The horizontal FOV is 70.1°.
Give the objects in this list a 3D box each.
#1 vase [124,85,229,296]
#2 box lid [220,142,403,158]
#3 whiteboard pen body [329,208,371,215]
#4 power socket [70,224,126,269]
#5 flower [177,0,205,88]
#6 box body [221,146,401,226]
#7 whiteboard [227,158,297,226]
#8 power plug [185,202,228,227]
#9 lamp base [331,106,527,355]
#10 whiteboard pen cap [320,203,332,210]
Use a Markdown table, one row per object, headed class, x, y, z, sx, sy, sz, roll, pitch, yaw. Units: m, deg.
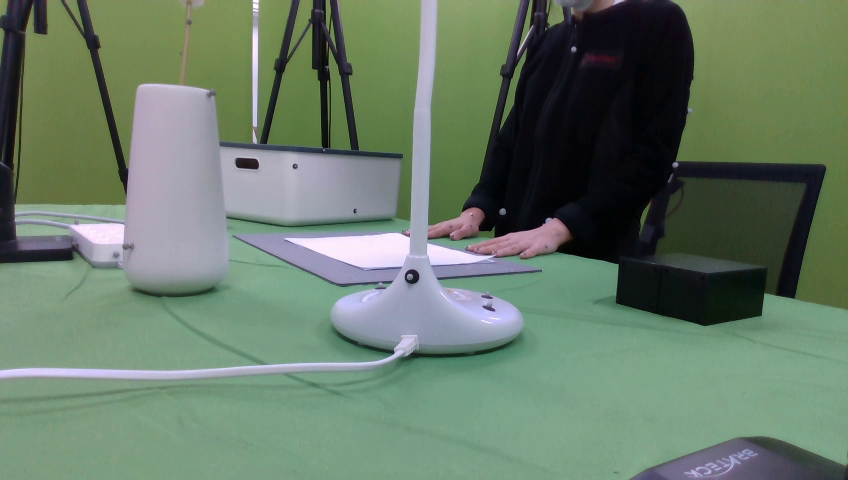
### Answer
| class | x | y | z | sx | sy | sz | roll | pitch | yaw |
| --- | --- | --- | --- | --- | --- | --- | --- | --- | --- |
| vase | -0.244 | -0.047 | 0.598 | 0.098 | 0.200 | 0.098 | 3 | 8 | 0 |
| box lid | -0.252 | -0.202 | 1.368 | 0.262 | 0.015 | 0.373 | 9 | 9 | 36 |
| whiteboard pen body | -0.189 | -0.073 | 1.521 | 0.140 | 0.017 | 0.017 | 3 | 6 | 37 |
| power socket | -0.409 | 0.004 | 0.792 | 0.072 | 0.032 | 0.225 | -2 | 8 | -37 |
| flower | -0.243 | -0.131 | 0.609 | 0.044 | 0.361 | 0.038 | -5 | -12 | 12 |
| box body | -0.254 | -0.128 | 1.379 | 0.253 | 0.160 | 0.366 | 8 | 9 | 36 |
| whiteboard | -0.265 | -0.116 | 1.372 | 0.216 | 0.143 | 0.307 | 4 | 7 | 35 |
| power plug | -0.408 | -0.043 | 1.151 | 0.072 | 0.052 | 0.035 | -17 | 5 | 15 |
| lamp base | 0.006 | -0.012 | 0.478 | 0.161 | 0.180 | 0.179 | 2 | 10 | 2 |
| whiteboard pen cap | -0.247 | -0.084 | 1.531 | 0.033 | 0.018 | 0.018 | 10 | 10 | 39 |
